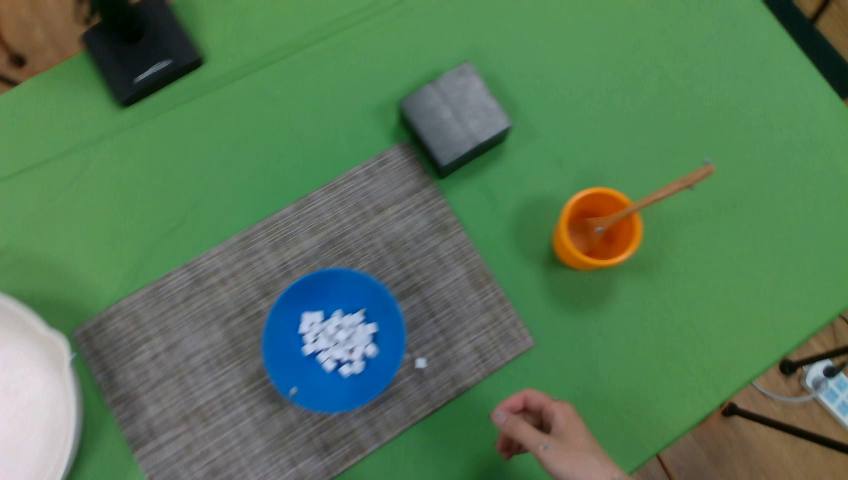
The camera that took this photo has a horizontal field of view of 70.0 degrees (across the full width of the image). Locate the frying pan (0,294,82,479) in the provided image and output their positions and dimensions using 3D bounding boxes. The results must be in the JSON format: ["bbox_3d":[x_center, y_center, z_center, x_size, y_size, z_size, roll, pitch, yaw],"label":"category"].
[{"bbox_3d":[-0.447,0.276,0.612,0.307,0.103,0.484,-33,73,-8],"label":"frying pan"}]

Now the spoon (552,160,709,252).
[{"bbox_3d":[0.228,-0.037,0.684,0.022,0.193,0.041,-11,74,-50],"label":"spoon"}]

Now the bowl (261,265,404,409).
[{"bbox_3d":[-0.096,0.108,0.671,0.151,0.077,0.150,1,79,-2],"label":"bowl"}]
